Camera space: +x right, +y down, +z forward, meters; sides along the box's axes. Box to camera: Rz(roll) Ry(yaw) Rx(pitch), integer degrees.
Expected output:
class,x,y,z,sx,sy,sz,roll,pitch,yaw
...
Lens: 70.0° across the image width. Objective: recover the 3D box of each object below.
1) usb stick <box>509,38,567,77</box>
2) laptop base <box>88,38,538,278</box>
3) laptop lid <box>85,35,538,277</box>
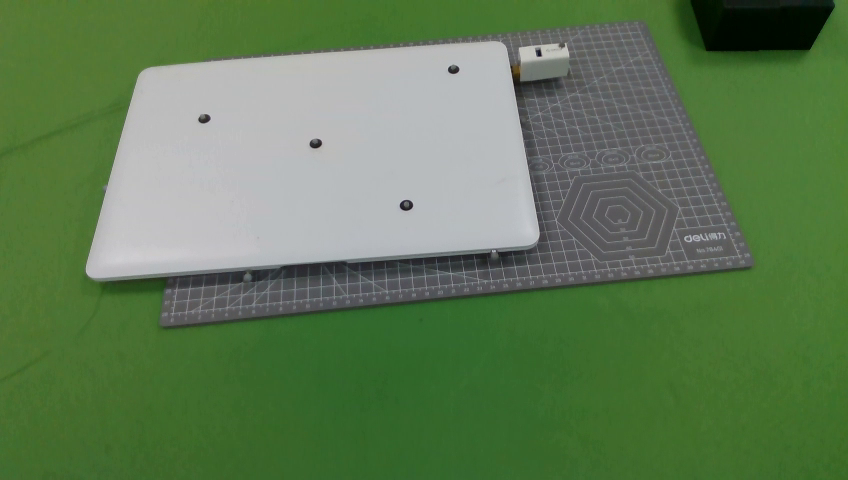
class,x,y,z,sx,sy,sz,roll,pitch,yaw
usb stick,0.101,-0.168,0.561,0.059,0.027,0.021,-7,58,5
laptop base,-0.092,-0.079,0.530,0.354,0.023,0.233,-4,60,0
laptop lid,-0.093,-0.084,0.518,0.357,0.013,0.239,-3,59,1
